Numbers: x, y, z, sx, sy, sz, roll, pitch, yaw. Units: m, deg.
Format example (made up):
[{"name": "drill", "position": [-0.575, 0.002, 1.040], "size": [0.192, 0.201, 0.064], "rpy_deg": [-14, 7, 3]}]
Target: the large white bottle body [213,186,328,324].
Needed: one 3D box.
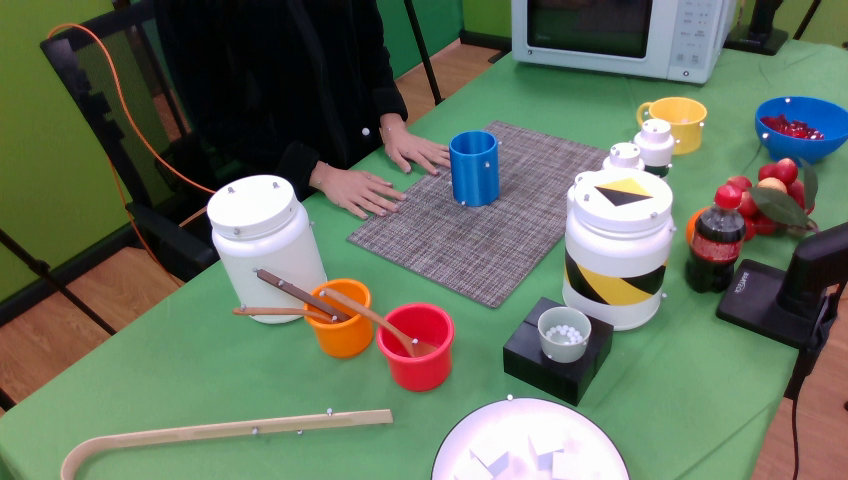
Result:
[{"name": "large white bottle body", "position": [-0.220, 0.016, 0.864], "size": [0.130, 0.185, 0.130], "rpy_deg": [-5, 40, 4]}]

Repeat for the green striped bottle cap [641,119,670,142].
[{"name": "green striped bottle cap", "position": [0.371, -0.175, 0.968], "size": [0.044, 0.020, 0.044], "rpy_deg": [-6, 42, 6]}]

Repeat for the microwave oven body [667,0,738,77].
[{"name": "microwave oven body", "position": [0.462, -0.552, 1.369], "size": [0.439, 0.261, 0.326], "rpy_deg": [15, 45, 26]}]

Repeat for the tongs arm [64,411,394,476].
[{"name": "tongs arm", "position": [-0.228, 0.241, 0.715], "size": [0.385, 0.026, 0.050], "rpy_deg": [-5, 43, 4]}]

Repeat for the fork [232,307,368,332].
[{"name": "fork", "position": [-0.152, 0.101, 0.781], "size": [0.209, 0.018, 0.028], "rpy_deg": [18, 18, -46]}]

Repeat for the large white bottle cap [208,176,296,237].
[{"name": "large white bottle cap", "position": [-0.229, -0.048, 0.809], "size": [0.115, 0.018, 0.114], "rpy_deg": [-4, 41, 4]}]

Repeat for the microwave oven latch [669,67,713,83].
[{"name": "microwave oven latch", "position": [0.556, -0.348, 1.262], "size": [0.078, 0.029, 0.030], "rpy_deg": [15, 46, 26]}]

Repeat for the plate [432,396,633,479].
[{"name": "plate", "position": [0.112, 0.261, 0.635], "size": [0.209, 0.038, 0.208], "rpy_deg": [-5, 40, 4]}]

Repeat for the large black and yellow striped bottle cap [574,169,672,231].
[{"name": "large black and yellow striped bottle cap", "position": [0.242, -0.051, 0.738], "size": [0.115, 0.019, 0.114], "rpy_deg": [-4, 37, 3]}]

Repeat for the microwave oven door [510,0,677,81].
[{"name": "microwave oven door", "position": [0.354, -0.478, 1.290], "size": [0.353, 0.245, 0.039], "rpy_deg": [15, 45, 25]}]

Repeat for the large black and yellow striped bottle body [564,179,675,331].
[{"name": "large black and yellow striped bottle body", "position": [0.253, 0.014, 0.793], "size": [0.131, 0.185, 0.130], "rpy_deg": [-5, 40, 4]}]

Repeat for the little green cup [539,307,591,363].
[{"name": "little green cup", "position": [0.167, 0.114, 0.721], "size": [0.061, 0.039, 0.061], "rpy_deg": [-4, 43, 4]}]

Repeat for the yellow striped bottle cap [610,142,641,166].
[{"name": "yellow striped bottle cap", "position": [0.308, -0.131, 0.925], "size": [0.044, 0.019, 0.044], "rpy_deg": [-4, 45, 5]}]

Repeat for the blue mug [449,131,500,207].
[{"name": "blue mug", "position": [0.089, -0.132, 1.049], "size": [0.082, 0.106, 0.116], "rpy_deg": [0, 40, 9]}]

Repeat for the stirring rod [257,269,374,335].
[{"name": "stirring rod", "position": [-0.143, 0.084, 0.808], "size": [0.177, 0.006, 0.014], "rpy_deg": [30, 43, -19]}]

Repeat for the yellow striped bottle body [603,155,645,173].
[{"name": "yellow striped bottle body", "position": [0.314, -0.091, 0.957], "size": [0.063, 0.121, 0.062], "rpy_deg": [-4, 40, 4]}]

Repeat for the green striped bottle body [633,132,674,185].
[{"name": "green striped bottle body", "position": [0.376, -0.135, 1.001], "size": [0.063, 0.120, 0.063], "rpy_deg": [-5, 40, 5]}]

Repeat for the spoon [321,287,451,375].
[{"name": "spoon", "position": [-0.046, 0.111, 0.757], "size": [0.194, 0.021, 0.041], "rpy_deg": [38, 46, -15]}]

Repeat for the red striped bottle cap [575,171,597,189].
[{"name": "red striped bottle cap", "position": [0.242, -0.081, 0.876], "size": [0.044, 0.018, 0.044], "rpy_deg": [-5, 44, 5]}]

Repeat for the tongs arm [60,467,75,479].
[{"name": "tongs arm", "position": [-0.239, 0.301, 0.648], "size": [0.386, 0.028, 0.028], "rpy_deg": [6, 49, 16]}]

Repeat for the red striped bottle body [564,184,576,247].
[{"name": "red striped bottle body", "position": [0.247, -0.041, 0.910], "size": [0.063, 0.120, 0.062], "rpy_deg": [-3, 39, 3]}]

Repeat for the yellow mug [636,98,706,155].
[{"name": "yellow mug", "position": [0.453, -0.217, 1.128], "size": [0.100, 0.064, 0.129], "rpy_deg": [-34, 46, -27]}]

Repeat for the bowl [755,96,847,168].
[{"name": "bowl", "position": [0.645, -0.177, 1.041], "size": [0.151, 0.077, 0.150], "rpy_deg": [-5, 40, 4]}]
